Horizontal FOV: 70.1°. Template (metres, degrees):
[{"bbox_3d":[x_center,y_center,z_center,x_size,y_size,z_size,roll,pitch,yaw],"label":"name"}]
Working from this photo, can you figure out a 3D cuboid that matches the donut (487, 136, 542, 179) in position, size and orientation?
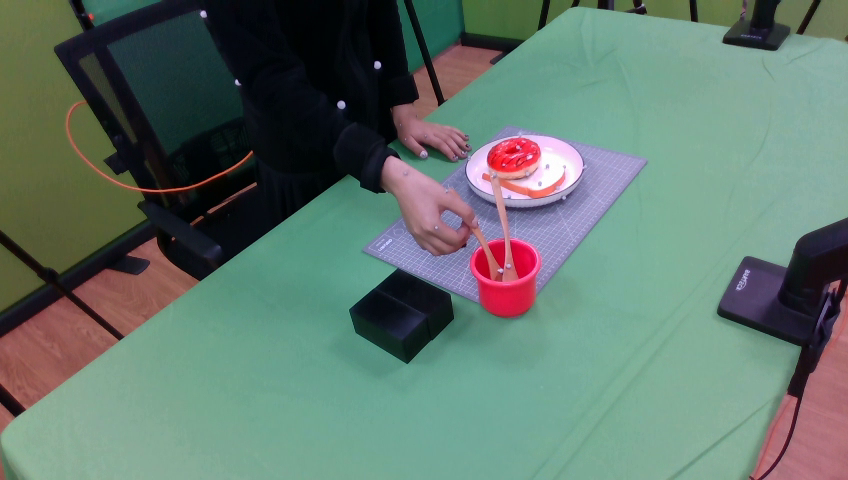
[{"bbox_3d":[0.159,-0.147,1.068,0.099,0.048,0.098,-9,39,8],"label":"donut"}]

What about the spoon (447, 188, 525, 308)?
[{"bbox_3d":[0.085,0.010,0.844,0.042,0.194,0.021,-30,5,-27],"label":"spoon"}]

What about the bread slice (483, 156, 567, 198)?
[{"bbox_3d":[0.187,-0.120,1.077,0.130,0.019,0.105,27,53,37],"label":"bread slice"}]

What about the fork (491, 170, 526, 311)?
[{"bbox_3d":[0.116,-0.002,0.857,0.028,0.018,0.206,-5,80,-15],"label":"fork"}]

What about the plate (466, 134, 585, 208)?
[{"bbox_3d":[0.178,-0.120,1.075,0.209,0.038,0.208,-5,40,5],"label":"plate"}]
